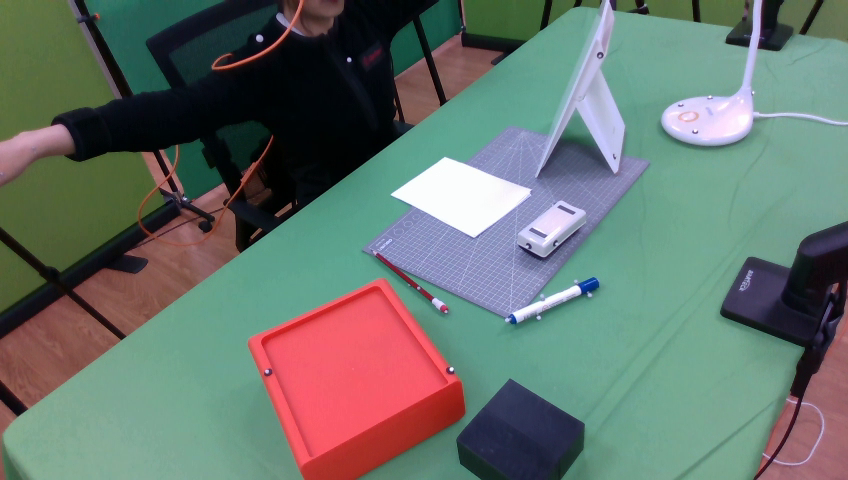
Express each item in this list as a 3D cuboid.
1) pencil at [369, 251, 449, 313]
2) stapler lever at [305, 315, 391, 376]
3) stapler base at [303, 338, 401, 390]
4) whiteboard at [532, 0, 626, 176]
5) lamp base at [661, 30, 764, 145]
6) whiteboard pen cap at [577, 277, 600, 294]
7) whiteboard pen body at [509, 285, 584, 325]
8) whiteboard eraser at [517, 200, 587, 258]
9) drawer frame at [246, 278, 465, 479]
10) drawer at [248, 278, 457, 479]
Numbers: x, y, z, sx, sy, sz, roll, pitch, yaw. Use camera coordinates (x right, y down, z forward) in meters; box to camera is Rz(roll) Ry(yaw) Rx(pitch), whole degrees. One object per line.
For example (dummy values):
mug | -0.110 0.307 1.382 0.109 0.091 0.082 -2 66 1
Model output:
pencil | -0.028 0.060 0.924 0.012 0.012 0.192 -33 46 -25
stapler lever | -0.100 0.136 0.790 0.118 0.040 0.026 -23 43 -12
stapler base | -0.096 0.160 0.813 0.131 0.024 0.041 -16 42 -18
whiteboard | 0.321 -0.258 1.049 0.144 0.306 0.217 22 45 5
lamp base | 0.535 -0.287 1.096 0.179 0.181 0.159 -10 40 -4
whiteboard pen cap | 0.233 0.066 0.864 0.033 0.018 0.018 -20 42 -17
whiteboard pen body | 0.181 0.086 0.845 0.141 0.017 0.017 -21 42 -17
whiteboard eraser | 0.200 -0.016 0.943 0.113 0.042 0.055 -37 46 -29
drawer frame | -0.088 0.168 0.752 0.202 0.083 0.211 -24 43 -18
drawer | -0.092 0.168 0.756 0.195 0.073 0.210 -23 43 -18
